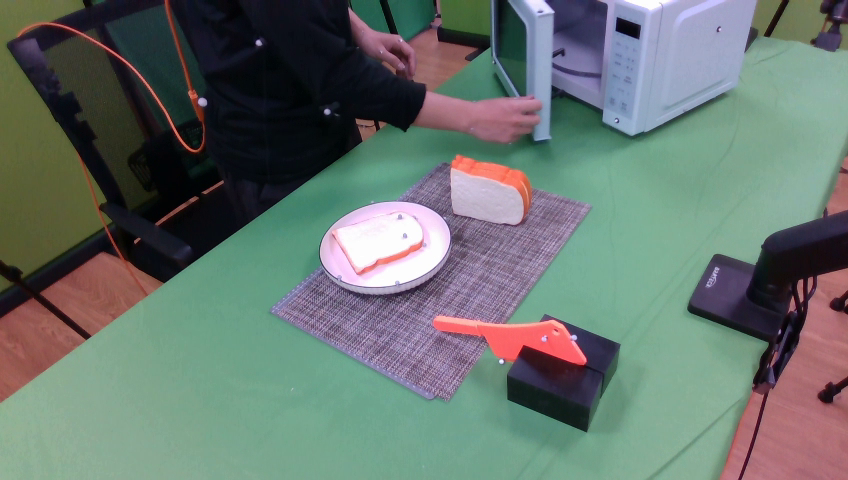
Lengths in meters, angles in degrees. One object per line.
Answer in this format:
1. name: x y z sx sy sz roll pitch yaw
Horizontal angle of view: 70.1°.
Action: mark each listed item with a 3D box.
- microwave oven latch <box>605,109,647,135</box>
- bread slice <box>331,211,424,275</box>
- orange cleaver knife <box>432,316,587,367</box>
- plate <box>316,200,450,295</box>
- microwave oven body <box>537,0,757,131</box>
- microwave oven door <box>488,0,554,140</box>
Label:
1. microwave oven latch: 0.379 -0.225 1.139 0.030 0.029 0.078 -26 43 -19
2. bread slice: -0.069 -0.002 0.960 0.135 0.018 0.106 -23 46 -21
3. orange cleaver knife: 0.101 0.127 0.761 0.210 0.077 0.012 -1 34 40
4. plate: -0.062 0.015 0.944 0.207 0.039 0.206 -4 41 4
5. microwave oven body: 0.396 -0.448 1.248 0.327 0.261 0.437 -27 44 -21
6. microwave oven door: 0.188 -0.393 1.205 0.039 0.245 0.353 -12 41 -3
